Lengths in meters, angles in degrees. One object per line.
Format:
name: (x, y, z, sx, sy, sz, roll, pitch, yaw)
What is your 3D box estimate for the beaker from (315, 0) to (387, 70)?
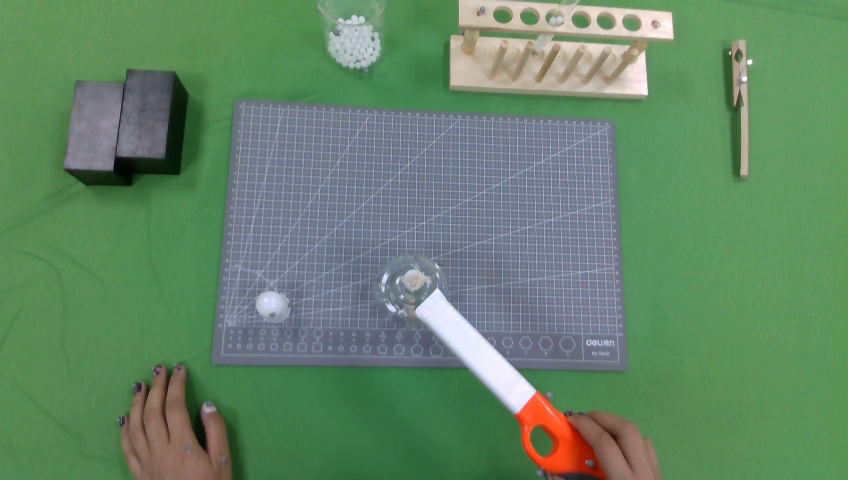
beaker: (-0.084, -0.246, 0.685, 0.084, 0.100, 0.074, 30, 76, 3)

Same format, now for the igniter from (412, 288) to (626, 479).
igniter: (0.095, 0.152, 0.541, 0.276, 0.025, 0.057, 46, 72, 4)

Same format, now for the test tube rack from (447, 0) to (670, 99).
test tube rack: (0.152, -0.220, 0.709, 0.243, 0.085, 0.066, 2, 77, -5)

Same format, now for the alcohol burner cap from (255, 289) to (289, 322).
alcohol burner cap: (-0.160, 0.067, 0.635, 0.034, 0.048, 0.033, 1, 77, -5)

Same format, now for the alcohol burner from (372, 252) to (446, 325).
alcohol burner: (-0.014, 0.046, 0.617, 0.078, 0.119, 0.077, 2, 75, -6)

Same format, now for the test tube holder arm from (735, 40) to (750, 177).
test tube holder arm: (0.394, -0.165, 0.752, 0.013, 0.015, 0.177, -6, 75, 29)

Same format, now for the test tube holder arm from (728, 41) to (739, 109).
test tube holder arm: (0.391, -0.209, 0.764, 0.010, 0.015, 0.087, -4, 76, 30)

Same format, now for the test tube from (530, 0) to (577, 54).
test tube: (0.147, -0.248, 0.663, 0.017, 0.150, 0.017, 3, 76, -11)
